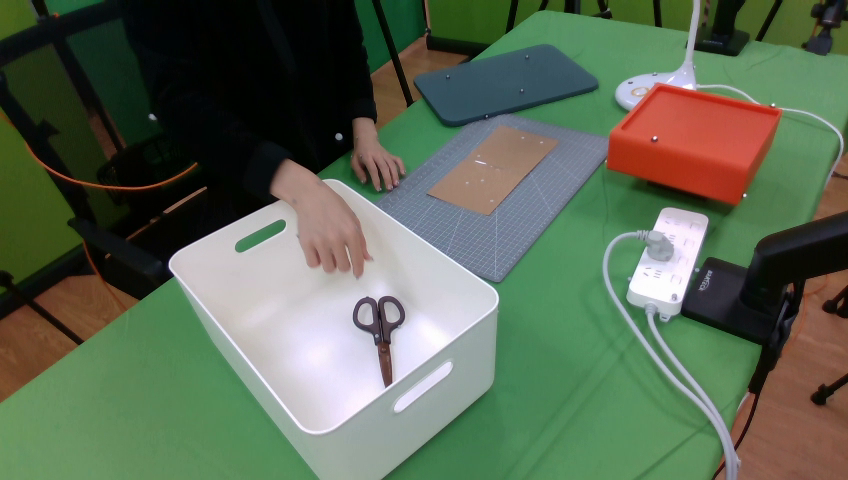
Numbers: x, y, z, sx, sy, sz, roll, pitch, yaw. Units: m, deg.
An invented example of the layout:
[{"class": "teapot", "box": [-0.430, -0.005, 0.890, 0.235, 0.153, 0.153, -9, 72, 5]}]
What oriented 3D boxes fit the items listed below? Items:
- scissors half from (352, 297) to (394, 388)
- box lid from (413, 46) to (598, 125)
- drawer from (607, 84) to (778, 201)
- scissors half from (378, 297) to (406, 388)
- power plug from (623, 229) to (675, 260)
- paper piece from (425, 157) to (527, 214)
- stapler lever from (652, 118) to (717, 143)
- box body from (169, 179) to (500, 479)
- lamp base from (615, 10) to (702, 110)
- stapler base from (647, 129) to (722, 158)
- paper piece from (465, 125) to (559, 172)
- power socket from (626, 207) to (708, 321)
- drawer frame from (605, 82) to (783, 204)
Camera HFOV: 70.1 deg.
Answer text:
[{"class": "scissors half", "box": [-0.065, 0.142, 0.815, 0.040, 0.013, 0.174, -10, 42, -15]}, {"class": "box lid", "box": [0.177, -0.360, 1.382, 0.373, 0.015, 0.261, -16, 40, -11]}, {"class": "drawer", "box": [0.438, -0.167, 0.995, 0.210, 0.073, 0.195, 23, 48, 30]}, {"class": "scissors half", "box": [-0.045, 0.142, 0.818, 0.040, 0.013, 0.174, 6, 40, -6]}, {"class": "power plug", "box": [0.327, 0.007, 0.878, 0.072, 0.053, 0.035, 25, 51, 33]}, {"class": "paper piece", "box": [0.095, -0.103, 1.089, 0.134, 0.004, 0.136, 22, 48, 30]}, {"class": "stapler lever", "box": [0.436, -0.192, 1.014, 0.118, 0.040, 0.026, -15, 25, -16]}, {"class": "box body", "box": [-0.110, 0.103, 0.761, 0.255, 0.161, 0.361, -33, 46, -27]}, {"class": "lamp base", "box": [0.484, -0.364, 1.211, 0.180, 0.181, 0.159, -15, 41, -14]}, {"class": "stapler base", "box": [0.439, -0.167, 1.023, 0.131, 0.024, 0.041, -17, 25, -15]}, {"class": "paper piece", "box": [0.171, -0.177, 1.168, 0.137, 0.009, 0.136, 21, 44, 31]}, {"class": "power socket", "box": [0.360, 0.026, 0.886, 0.072, 0.033, 0.227, 16, 46, 26]}, {"class": "drawer frame", "box": [0.441, -0.167, 0.995, 0.212, 0.083, 0.202, 23, 48, 30]}]
